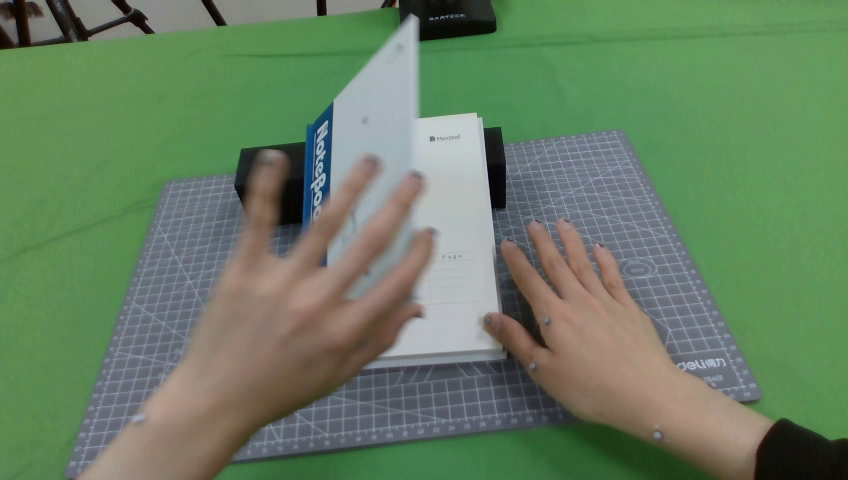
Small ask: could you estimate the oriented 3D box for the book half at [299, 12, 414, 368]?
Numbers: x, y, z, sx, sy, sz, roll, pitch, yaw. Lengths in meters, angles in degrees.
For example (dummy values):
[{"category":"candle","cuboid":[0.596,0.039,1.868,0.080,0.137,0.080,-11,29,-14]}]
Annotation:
[{"category":"book half","cuboid":[-0.050,-0.032,0.410,0.007,0.143,0.208,16,57,-31]}]
